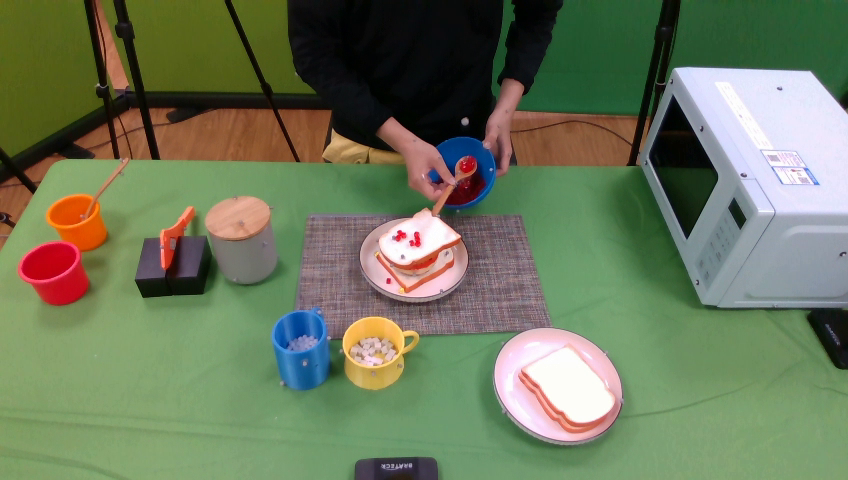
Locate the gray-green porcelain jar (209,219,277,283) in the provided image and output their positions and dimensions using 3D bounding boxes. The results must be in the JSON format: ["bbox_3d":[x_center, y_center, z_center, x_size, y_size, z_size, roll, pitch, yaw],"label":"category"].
[{"bbox_3d":[-0.323,0.007,1.092,0.106,0.127,0.105,2,46,-2],"label":"gray-green porcelain jar"}]

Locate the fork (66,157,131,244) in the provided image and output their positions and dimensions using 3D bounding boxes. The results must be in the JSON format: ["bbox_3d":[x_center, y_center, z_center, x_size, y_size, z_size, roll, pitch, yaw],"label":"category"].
[{"bbox_3d":[-0.608,-0.074,1.132,0.207,0.019,0.028,-52,48,10],"label":"fork"}]

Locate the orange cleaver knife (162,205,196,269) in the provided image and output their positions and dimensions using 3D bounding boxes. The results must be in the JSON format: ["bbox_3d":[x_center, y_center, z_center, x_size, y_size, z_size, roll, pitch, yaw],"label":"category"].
[{"bbox_3d":[-0.454,-0.010,1.129,0.012,0.077,0.210,-2,20,-5],"label":"orange cleaver knife"}]

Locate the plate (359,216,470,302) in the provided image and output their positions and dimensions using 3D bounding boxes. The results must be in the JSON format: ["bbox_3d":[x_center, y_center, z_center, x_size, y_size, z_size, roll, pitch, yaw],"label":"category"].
[{"bbox_3d":[-0.019,0.038,1.140,0.209,0.038,0.208,2,46,-2],"label":"plate"}]

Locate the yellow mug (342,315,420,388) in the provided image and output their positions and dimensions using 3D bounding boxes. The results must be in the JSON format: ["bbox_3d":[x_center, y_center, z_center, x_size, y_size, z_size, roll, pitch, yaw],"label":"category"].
[{"bbox_3d":[-0.068,0.177,0.990,0.131,0.064,0.099,-15,50,-19],"label":"yellow mug"}]

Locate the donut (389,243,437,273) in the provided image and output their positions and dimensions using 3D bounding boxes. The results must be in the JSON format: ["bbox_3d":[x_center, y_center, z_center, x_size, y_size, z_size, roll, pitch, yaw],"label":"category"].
[{"bbox_3d":[-0.023,0.018,1.120,0.099,0.048,0.098,-10,48,11],"label":"donut"}]

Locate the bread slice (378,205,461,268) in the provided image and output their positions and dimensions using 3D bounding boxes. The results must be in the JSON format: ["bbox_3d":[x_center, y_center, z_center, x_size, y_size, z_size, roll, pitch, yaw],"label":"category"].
[{"bbox_3d":[-0.014,-0.002,1.097,0.134,0.018,0.106,-34,50,-22],"label":"bread slice"}]

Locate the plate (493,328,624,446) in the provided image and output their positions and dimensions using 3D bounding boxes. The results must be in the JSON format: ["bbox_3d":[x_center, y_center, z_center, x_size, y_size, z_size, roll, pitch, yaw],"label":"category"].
[{"bbox_3d":[0.213,0.236,0.974,0.208,0.039,0.206,2,46,-2],"label":"plate"}]

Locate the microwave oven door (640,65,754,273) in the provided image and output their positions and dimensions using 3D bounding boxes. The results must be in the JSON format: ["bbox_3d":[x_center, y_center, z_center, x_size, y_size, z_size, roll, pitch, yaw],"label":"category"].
[{"bbox_3d":[0.523,-0.147,1.193,0.039,0.245,0.353,0,47,-3],"label":"microwave oven door"}]

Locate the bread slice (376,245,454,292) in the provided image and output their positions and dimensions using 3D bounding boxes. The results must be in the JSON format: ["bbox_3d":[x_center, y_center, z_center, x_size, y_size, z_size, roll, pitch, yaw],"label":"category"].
[{"bbox_3d":[-0.010,0.033,1.149,0.131,0.019,0.104,-27,55,-25],"label":"bread slice"}]

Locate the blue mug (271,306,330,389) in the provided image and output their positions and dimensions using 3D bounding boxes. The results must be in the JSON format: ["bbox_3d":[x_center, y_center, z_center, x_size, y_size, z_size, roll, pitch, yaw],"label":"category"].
[{"bbox_3d":[-0.188,0.163,0.969,0.082,0.106,0.116,15,47,10],"label":"blue mug"}]

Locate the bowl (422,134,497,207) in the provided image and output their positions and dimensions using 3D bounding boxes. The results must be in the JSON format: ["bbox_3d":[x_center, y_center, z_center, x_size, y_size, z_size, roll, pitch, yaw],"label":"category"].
[{"bbox_3d":[0.080,-0.128,1.214,0.151,0.077,0.150,-6,72,18],"label":"bowl"}]

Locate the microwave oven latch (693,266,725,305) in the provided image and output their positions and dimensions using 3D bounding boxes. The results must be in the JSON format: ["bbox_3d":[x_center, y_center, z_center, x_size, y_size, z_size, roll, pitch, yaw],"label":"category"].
[{"bbox_3d":[0.523,0.082,1.115,0.030,0.029,0.078,3,46,0],"label":"microwave oven latch"}]

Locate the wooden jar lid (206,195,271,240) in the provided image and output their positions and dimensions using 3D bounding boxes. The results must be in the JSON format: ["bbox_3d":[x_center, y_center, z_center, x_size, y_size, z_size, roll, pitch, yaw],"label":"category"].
[{"bbox_3d":[-0.319,-0.036,1.046,0.108,0.021,0.107,1,44,0],"label":"wooden jar lid"}]

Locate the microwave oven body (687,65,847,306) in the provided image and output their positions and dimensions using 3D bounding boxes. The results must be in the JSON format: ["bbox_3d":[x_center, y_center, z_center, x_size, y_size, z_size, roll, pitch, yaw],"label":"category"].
[{"bbox_3d":[0.669,-0.111,1.176,0.326,0.261,0.439,0,46,-3],"label":"microwave oven body"}]

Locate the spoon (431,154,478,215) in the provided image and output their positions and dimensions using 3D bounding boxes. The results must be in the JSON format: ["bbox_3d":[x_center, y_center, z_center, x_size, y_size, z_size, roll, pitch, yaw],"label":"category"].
[{"bbox_3d":[0.053,-0.105,1.129,0.041,0.022,0.193,23,43,13],"label":"spoon"}]
